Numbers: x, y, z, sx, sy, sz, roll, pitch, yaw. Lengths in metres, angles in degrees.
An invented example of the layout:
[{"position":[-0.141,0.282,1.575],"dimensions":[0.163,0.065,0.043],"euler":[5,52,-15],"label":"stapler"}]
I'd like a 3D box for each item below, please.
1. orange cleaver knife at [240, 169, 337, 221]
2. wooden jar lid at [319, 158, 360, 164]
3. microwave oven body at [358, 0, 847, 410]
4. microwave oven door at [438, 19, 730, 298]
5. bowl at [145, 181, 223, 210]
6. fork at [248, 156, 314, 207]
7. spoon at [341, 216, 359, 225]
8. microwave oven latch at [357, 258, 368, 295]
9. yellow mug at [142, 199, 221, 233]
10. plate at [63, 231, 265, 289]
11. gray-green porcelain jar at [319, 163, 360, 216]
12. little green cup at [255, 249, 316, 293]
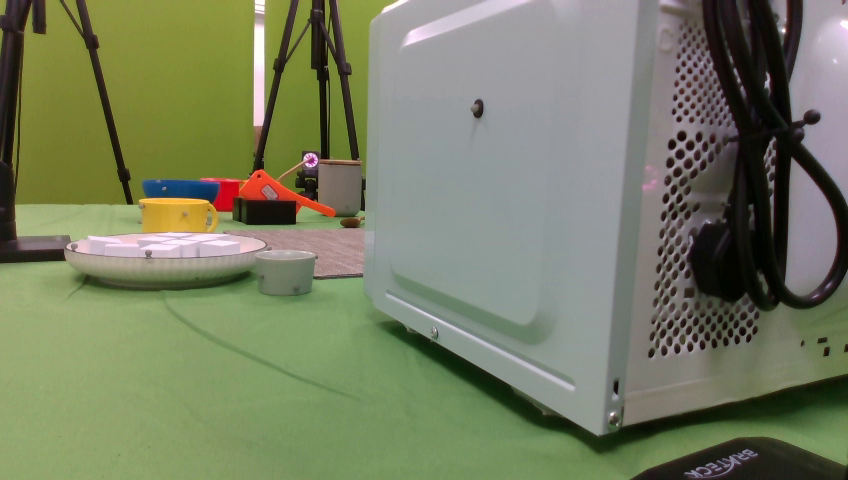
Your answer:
[{"position":[-0.286,-0.082,1.298],"dimensions":[0.212,0.077,0.012],"euler":[25,-2,-31],"label":"orange cleaver knife"},{"position":[-0.202,-0.189,1.482],"dimensions":[0.108,0.020,0.108],"euler":[2,10,0],"label":"wooden jar lid"},{"position":[0.210,-0.051,0.471],"dimensions":[0.444,0.260,0.324],"euler":[-1,7,-28],"label":"microwave oven body"},{"position":[0.181,-0.076,0.618],"dimensions":[0.358,0.243,0.039],"euler":[-2,8,-28],"label":"microwave oven door"},{"position":[-0.499,-0.081,1.261],"dimensions":[0.151,0.077,0.151],"euler":[2,8,0],"label":"bowl"},{"position":[-0.360,-0.147,1.523],"dimensions":[0.207,0.019,0.028],"euler":[-43,17,-6],"label":"fork"},{"position":[-0.132,-0.048,1.305],"dimensions":[0.041,0.021,0.194],"euler":[-13,4,14],"label":"spoon"},{"position":[-0.019,0.031,0.529],"dimensions":[0.079,0.029,0.030],"euler":[-1,7,-26],"label":"microwave oven latch"},{"position":[-0.373,-0.030,0.948],"dimensions":[0.099,0.064,0.131],"euler":[6,8,30],"label":"yellow mug"},{"position":[-0.288,0.021,0.687],"dimensions":[0.208,0.039,0.207],"euler":[2,8,0],"label":"plate"},{"position":[-0.204,-0.126,1.490],"dimensions":[0.106,0.126,0.106],"euler":[2,8,0],"label":"gray-green porcelain jar"},{"position":[-0.144,0.031,0.627],"dimensions":[0.061,0.038,0.061],"euler":[2,6,0],"label":"little green cup"}]
